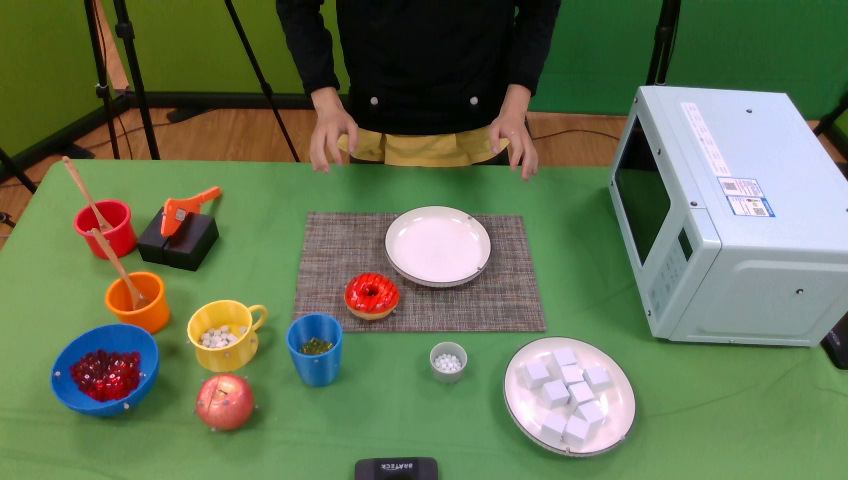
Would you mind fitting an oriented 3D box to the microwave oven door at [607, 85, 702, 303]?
[{"bbox_3d":[0.423,-0.094,1.140,0.039,0.245,0.353,2,46,-1],"label":"microwave oven door"}]

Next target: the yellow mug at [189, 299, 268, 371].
[{"bbox_3d":[-0.316,0.148,1.002,0.131,0.064,0.099,-32,56,-32],"label":"yellow mug"}]

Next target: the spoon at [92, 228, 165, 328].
[{"bbox_3d":[-0.496,0.063,1.014,0.041,0.194,0.021,-34,12,-31],"label":"spoon"}]

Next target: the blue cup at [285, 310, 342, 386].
[{"bbox_3d":[-0.170,0.179,0.958,0.093,0.101,0.092,1,44,-1],"label":"blue cup"}]

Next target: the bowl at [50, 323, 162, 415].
[{"bbox_3d":[-0.472,0.209,0.924,0.151,0.077,0.150,3,45,-2],"label":"bowl"}]

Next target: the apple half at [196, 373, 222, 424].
[{"bbox_3d":[-0.322,0.239,0.907,0.033,0.081,0.081,7,46,-1],"label":"apple half"}]

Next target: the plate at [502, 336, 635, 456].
[{"bbox_3d":[0.225,0.248,0.963,0.208,0.039,0.206,2,46,-2],"label":"plate"}]

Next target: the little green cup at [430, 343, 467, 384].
[{"bbox_3d":[0.039,0.203,0.994,0.061,0.039,0.061,2,46,-2],"label":"little green cup"}]

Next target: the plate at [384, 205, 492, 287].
[{"bbox_3d":[0.027,0.015,1.169,0.209,0.038,0.208,2,46,-2],"label":"plate"}]

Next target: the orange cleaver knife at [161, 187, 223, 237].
[{"bbox_3d":[-0.448,-0.058,1.180,0.012,0.077,0.211,13,17,6],"label":"orange cleaver knife"}]

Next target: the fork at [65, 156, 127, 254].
[{"bbox_3d":[-0.614,-0.064,1.130,0.028,0.018,0.207,-29,97,-16],"label":"fork"}]

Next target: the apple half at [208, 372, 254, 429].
[{"bbox_3d":[-0.283,0.244,0.908,0.053,0.075,0.080,7,42,-1],"label":"apple half"}]

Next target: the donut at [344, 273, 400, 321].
[{"bbox_3d":[-0.092,0.099,1.075,0.099,0.048,0.098,3,44,-3],"label":"donut"}]

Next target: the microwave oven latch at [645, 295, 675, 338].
[{"bbox_3d":[0.412,0.134,1.061,0.030,0.029,0.078,3,45,0],"label":"microwave oven latch"}]

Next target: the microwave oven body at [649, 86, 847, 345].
[{"bbox_3d":[0.568,-0.053,1.118,0.326,0.261,0.439,2,45,-1],"label":"microwave oven body"}]
